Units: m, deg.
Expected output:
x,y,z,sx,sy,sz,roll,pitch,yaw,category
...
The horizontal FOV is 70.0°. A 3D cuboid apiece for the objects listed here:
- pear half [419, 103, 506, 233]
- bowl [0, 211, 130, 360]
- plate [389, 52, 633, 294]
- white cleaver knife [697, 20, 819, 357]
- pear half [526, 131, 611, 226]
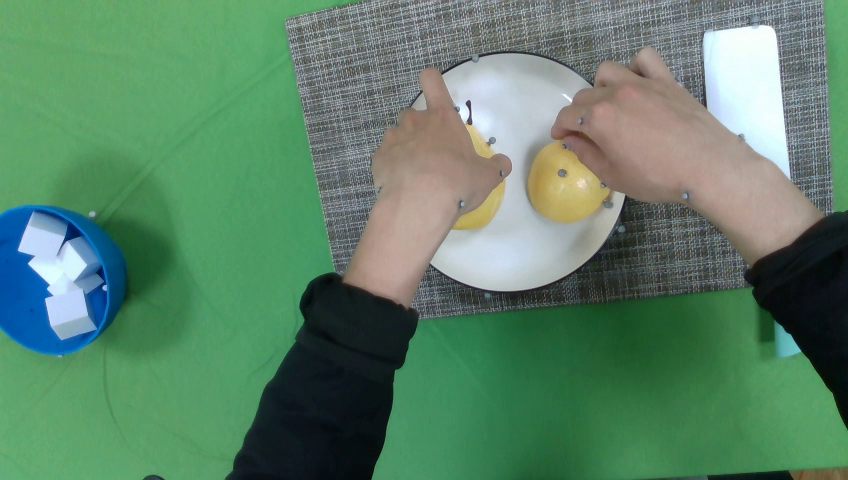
x,y,z,sx,sy,sz,roll,pitch,yaw,category
0.030,-0.060,0.517,0.076,0.056,0.110,5,105,25,pear half
-0.361,0.039,0.621,0.151,0.076,0.152,2,102,10,bowl
0.074,-0.056,0.536,0.207,0.039,0.208,2,102,11,plate
0.281,-0.039,0.512,0.065,0.021,0.287,-11,96,18,white cleaver knife
0.125,-0.049,0.515,0.070,0.031,0.088,25,120,-1,pear half
